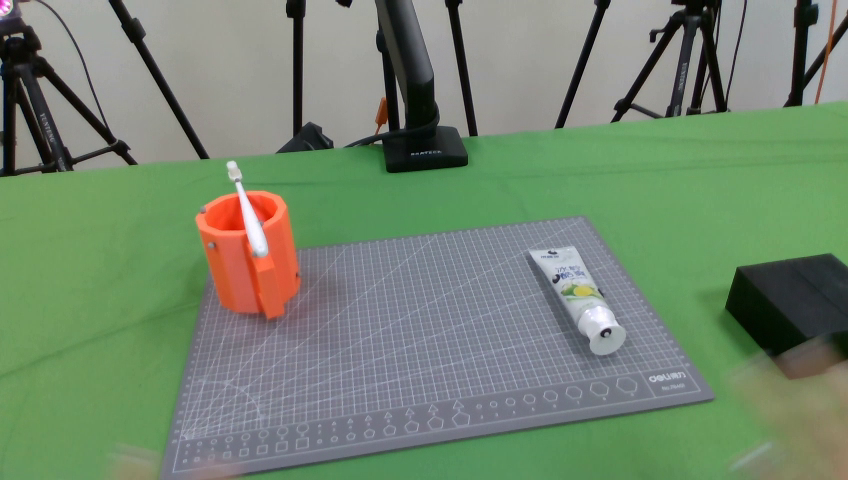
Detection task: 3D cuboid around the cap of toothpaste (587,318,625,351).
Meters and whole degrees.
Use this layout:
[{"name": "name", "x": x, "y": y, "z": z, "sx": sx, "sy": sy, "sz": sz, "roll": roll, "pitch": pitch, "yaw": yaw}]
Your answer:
[{"name": "cap of toothpaste", "x": 0.162, "y": 0.084, "z": 0.544, "sx": 0.037, "sy": 0.037, "sz": 0.011, "roll": -11, "pitch": 36, "yaw": -12}]

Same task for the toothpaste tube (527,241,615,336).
[{"name": "toothpaste tube", "x": 0.153, "y": 0.044, "z": 0.613, "sx": 0.055, "sy": 0.035, "sz": 0.163, "roll": -1, "pitch": 30, "yaw": -8}]

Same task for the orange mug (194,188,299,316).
[{"name": "orange mug", "x": -0.172, "y": 0.015, "z": 0.609, "sx": 0.083, "sy": 0.101, "sz": 0.125, "roll": -18, "pitch": 33, "yaw": -21}]

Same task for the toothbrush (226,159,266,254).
[{"name": "toothbrush", "x": -0.177, "y": -0.038, "z": 0.594, "sx": 0.014, "sy": 0.017, "sz": 0.180, "roll": -12, "pitch": 36, "yaw": -20}]
